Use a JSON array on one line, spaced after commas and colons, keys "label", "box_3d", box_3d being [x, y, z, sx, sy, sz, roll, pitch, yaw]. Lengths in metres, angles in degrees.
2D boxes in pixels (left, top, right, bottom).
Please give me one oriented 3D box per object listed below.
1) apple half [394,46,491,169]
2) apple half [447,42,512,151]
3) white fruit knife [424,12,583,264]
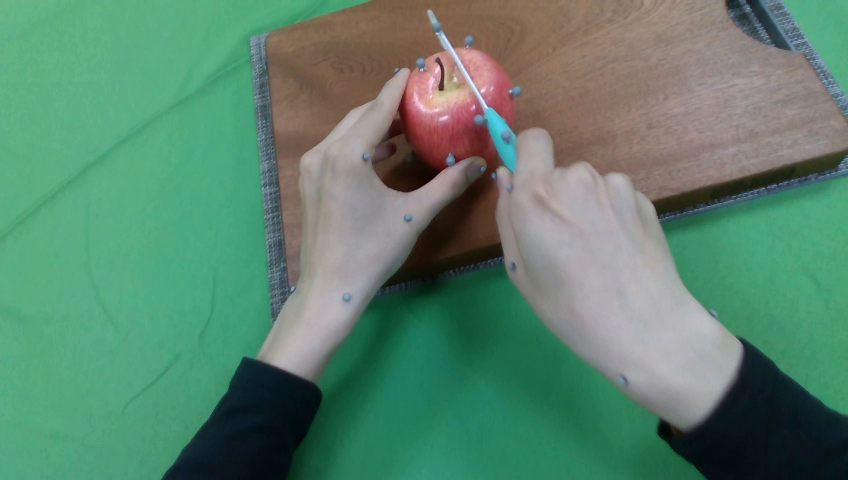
[{"label": "apple half", "box_3d": [0.008, -0.085, 0.423, 0.053, 0.075, 0.080, -26, 65, 1]}, {"label": "apple half", "box_3d": [0.043, -0.103, 0.424, 0.033, 0.082, 0.080, -25, 62, -1]}, {"label": "white fruit knife", "box_3d": [0.041, -0.074, 0.375, 0.016, 0.028, 0.205, -28, 64, 1]}]
